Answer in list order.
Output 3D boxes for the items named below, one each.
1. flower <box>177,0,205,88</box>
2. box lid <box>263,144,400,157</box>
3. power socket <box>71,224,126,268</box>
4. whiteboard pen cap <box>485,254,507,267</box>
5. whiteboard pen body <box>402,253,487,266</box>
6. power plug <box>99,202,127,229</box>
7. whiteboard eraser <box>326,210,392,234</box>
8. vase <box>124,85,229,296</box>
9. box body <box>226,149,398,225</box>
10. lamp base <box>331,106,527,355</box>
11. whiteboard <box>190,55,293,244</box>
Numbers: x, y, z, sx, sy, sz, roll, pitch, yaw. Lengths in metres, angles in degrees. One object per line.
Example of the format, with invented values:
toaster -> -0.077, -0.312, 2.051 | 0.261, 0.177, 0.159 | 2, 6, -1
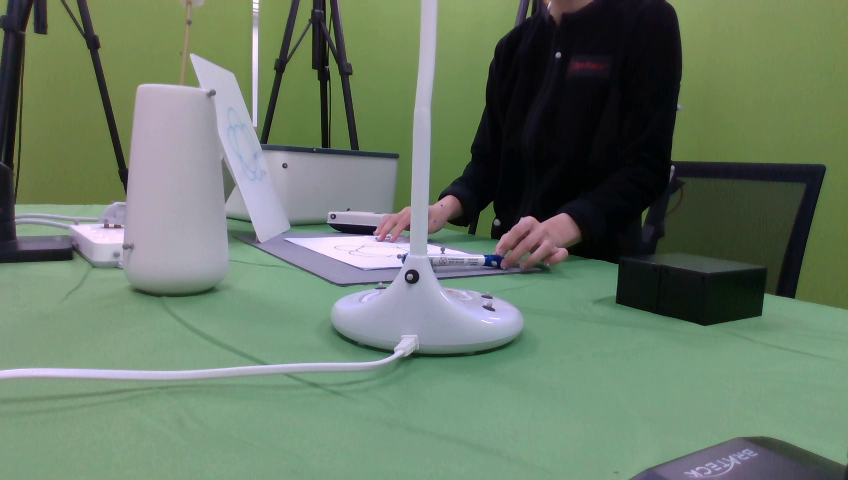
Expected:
flower -> -0.243, -0.131, 0.609 | 0.044, 0.361, 0.038 | -5, -12, 12
box lid -> -0.263, -0.203, 1.369 | 0.262, 0.015, 0.373 | 9, 10, 39
power socket -> -0.409, 0.004, 0.793 | 0.072, 0.032, 0.225 | -2, 8, -37
whiteboard pen cap -> 0.093, 0.028, 0.803 | 0.033, 0.018, 0.018 | -2, 9, -23
whiteboard pen body -> 0.038, 0.026, 0.779 | 0.141, 0.017, 0.017 | 1, 7, -23
power plug -> -0.415, -0.026, 0.848 | 0.073, 0.052, 0.035 | 6, 5, -28
whiteboard eraser -> -0.121, -0.033, 1.131 | 0.112, 0.042, 0.056 | 4, 8, 13
vase -> -0.244, -0.047, 0.598 | 0.098, 0.200, 0.098 | 3, 8, 0
box body -> -0.265, -0.129, 1.380 | 0.253, 0.160, 0.366 | 8, 9, 39
lamp base -> 0.006, -0.012, 0.478 | 0.161, 0.180, 0.179 | 2, 10, 2
whiteboard -> -0.362, -0.129, 1.029 | 0.144, 0.305, 0.217 | -18, 7, 3
